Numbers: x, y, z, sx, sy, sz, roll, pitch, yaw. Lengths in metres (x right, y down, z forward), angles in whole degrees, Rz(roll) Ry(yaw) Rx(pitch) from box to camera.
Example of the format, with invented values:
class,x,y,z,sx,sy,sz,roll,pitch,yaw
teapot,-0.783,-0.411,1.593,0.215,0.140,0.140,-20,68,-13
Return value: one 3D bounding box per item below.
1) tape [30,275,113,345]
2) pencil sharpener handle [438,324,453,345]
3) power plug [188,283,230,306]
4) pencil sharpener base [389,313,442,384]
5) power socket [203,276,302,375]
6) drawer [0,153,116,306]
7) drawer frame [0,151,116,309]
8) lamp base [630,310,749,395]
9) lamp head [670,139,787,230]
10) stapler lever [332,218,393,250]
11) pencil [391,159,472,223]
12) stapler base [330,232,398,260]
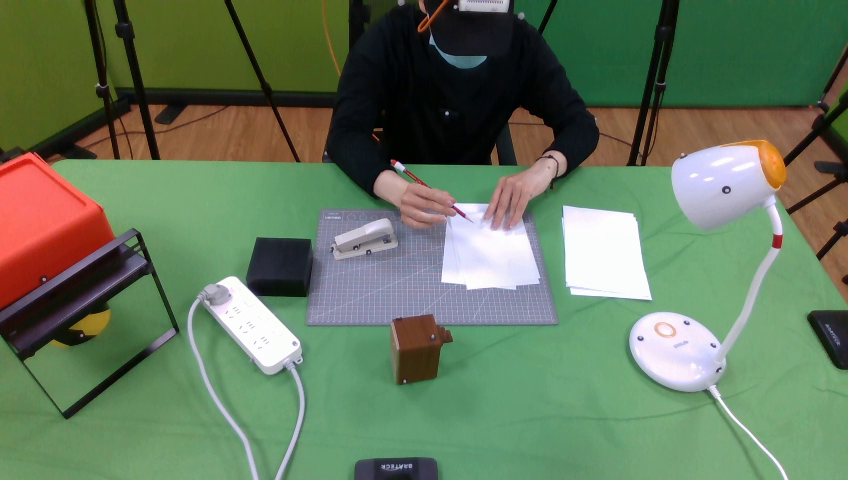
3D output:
class,x,y,z,sx,sy,sz,roll,pitch,yaw
tape,-0.593,0.117,1.021,0.117,0.053,0.116,2,46,-2
pencil sharpener handle,0.036,0.155,0.976,0.031,0.068,0.036,-8,70,-11
power plug,-0.368,0.099,1.037,0.072,0.053,0.035,-24,52,-25
pencil sharpener base,-0.013,0.175,0.971,0.077,0.107,0.061,-8,47,-11
power socket,-0.297,0.141,1.034,0.072,0.033,0.225,-34,58,-30
drawer,-0.601,-0.015,0.880,0.193,0.073,0.211,32,53,23
drawer frame,-0.604,-0.013,0.876,0.201,0.083,0.213,31,52,23
lamp base,0.447,0.142,0.984,0.161,0.181,0.178,-24,55,-24
lamp head,0.415,-0.079,0.812,0.113,0.123,0.112,13,70,-37
stapler lever,-0.116,-0.012,1.161,0.118,0.040,0.026,-14,48,-14
pencil,0.015,-0.092,1.140,0.194,0.012,0.012,38,53,5
stapler base,-0.116,0.004,1.181,0.131,0.024,0.041,-13,48,-14
